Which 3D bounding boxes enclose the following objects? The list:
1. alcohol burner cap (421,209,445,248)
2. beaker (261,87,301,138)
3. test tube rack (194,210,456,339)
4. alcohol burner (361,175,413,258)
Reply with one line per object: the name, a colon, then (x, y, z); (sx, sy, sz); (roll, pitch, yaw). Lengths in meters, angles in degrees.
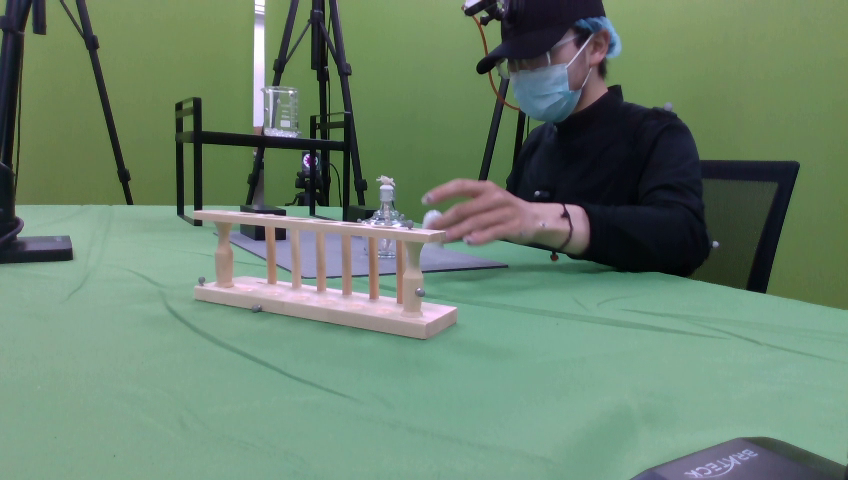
alcohol burner cap: (0.011, -0.016, 0.762); (0.034, 0.048, 0.034); (7, 7, -1)
beaker: (-0.298, -0.263, 1.255); (0.084, 0.100, 0.073); (-5, 10, -40)
test tube rack: (-0.093, 0.023, 0.545); (0.241, 0.085, 0.067); (6, 8, 25)
alcohol burner: (-0.054, -0.033, 0.871); (0.078, 0.119, 0.078); (1, 8, 0)
